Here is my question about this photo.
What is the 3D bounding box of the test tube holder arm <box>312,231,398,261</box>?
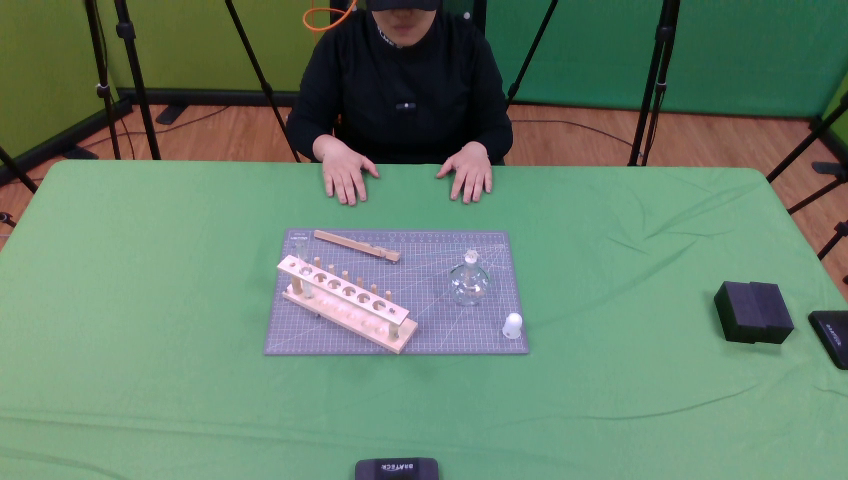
[{"bbox_3d":[-0.134,0.011,1.176,0.178,0.015,0.013,15,13,11],"label":"test tube holder arm"}]

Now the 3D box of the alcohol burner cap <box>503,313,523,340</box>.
[{"bbox_3d":[0.155,0.147,1.051,0.034,0.048,0.033,1,45,-1],"label":"alcohol burner cap"}]

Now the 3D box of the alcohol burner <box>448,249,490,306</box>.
[{"bbox_3d":[0.081,0.062,1.078,0.078,0.120,0.077,1,45,-1],"label":"alcohol burner"}]

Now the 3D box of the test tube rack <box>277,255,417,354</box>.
[{"bbox_3d":[-0.132,0.099,1.045,0.241,0.085,0.066,23,49,17],"label":"test tube rack"}]

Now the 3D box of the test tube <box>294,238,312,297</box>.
[{"bbox_3d":[-0.202,0.050,1.018,0.017,0.151,0.017,2,50,-2],"label":"test tube"}]

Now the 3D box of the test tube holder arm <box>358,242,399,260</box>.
[{"bbox_3d":[-0.090,0.021,1.172,0.087,0.015,0.010,15,13,12],"label":"test tube holder arm"}]
